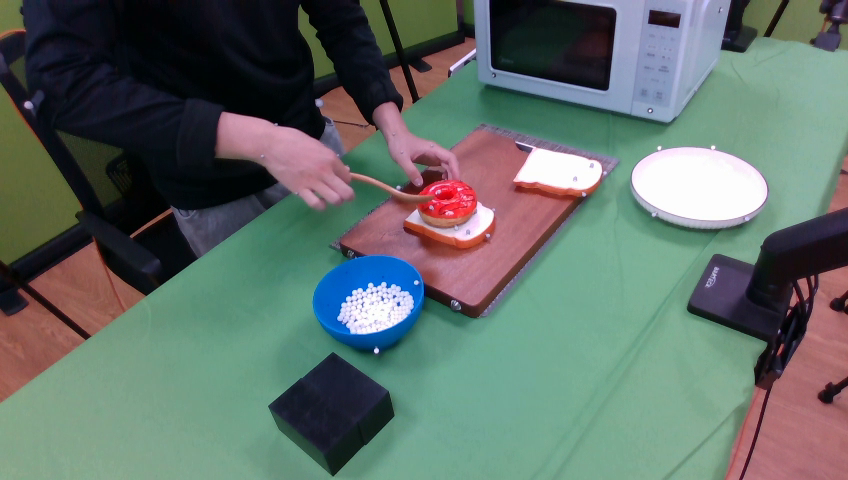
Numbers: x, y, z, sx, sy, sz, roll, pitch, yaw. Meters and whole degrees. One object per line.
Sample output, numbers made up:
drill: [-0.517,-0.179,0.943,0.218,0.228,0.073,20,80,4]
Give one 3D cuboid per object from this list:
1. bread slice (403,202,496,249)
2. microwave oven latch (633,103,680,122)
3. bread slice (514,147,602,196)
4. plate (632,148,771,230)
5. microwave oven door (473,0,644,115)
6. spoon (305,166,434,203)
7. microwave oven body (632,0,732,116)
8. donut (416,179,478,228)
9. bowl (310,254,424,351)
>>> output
bread slice: [0.048,-0.034,0.961,0.130,0.019,0.105,22,49,31]
microwave oven latch: [0.444,-0.249,1.157,0.078,0.029,0.030,21,49,30]
bread slice: [0.232,-0.115,1.026,0.133,0.018,0.107,13,45,20]
plate: [0.447,-0.081,0.988,0.207,0.039,0.206,-4,40,4]
microwave oven door: [0.257,-0.396,1.199,0.353,0.245,0.039,21,48,29]
spoon: [-0.080,-0.083,0.881,0.194,0.021,0.041,17,7,3]
microwave oven body: [0.377,-0.462,1.267,0.438,0.261,0.327,21,49,30]
donut: [0.036,-0.058,0.944,0.099,0.048,0.098,-5,40,4]
bowl: [-0.071,0.097,0.821,0.151,0.077,0.150,-4,40,4]
